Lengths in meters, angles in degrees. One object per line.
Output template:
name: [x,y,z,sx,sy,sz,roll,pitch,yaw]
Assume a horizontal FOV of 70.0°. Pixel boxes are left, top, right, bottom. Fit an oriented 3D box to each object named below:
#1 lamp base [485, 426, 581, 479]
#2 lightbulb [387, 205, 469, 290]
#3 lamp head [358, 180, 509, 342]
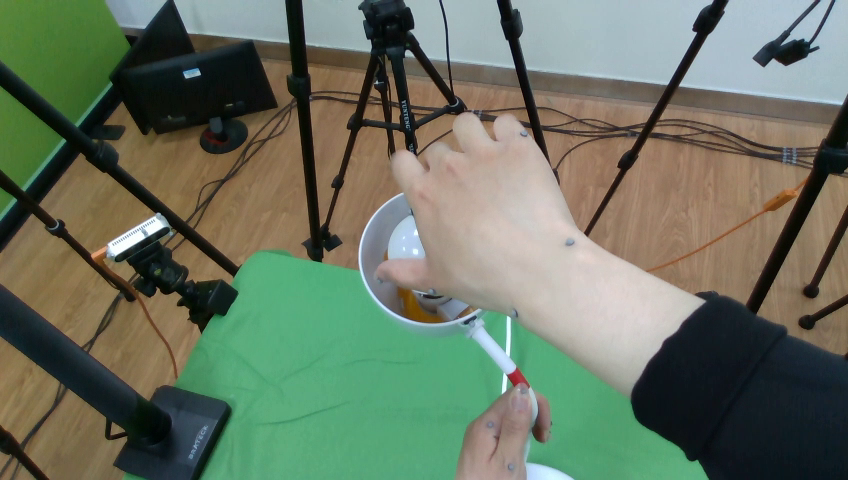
lamp base: [0.117,0.280,0.642,0.161,0.182,0.177,-23,53,-9]
lightbulb: [0.002,0.014,0.460,0.059,0.108,0.059,1,68,-2]
lamp head: [0.012,0.030,0.489,0.112,0.124,0.111,-3,63,5]
